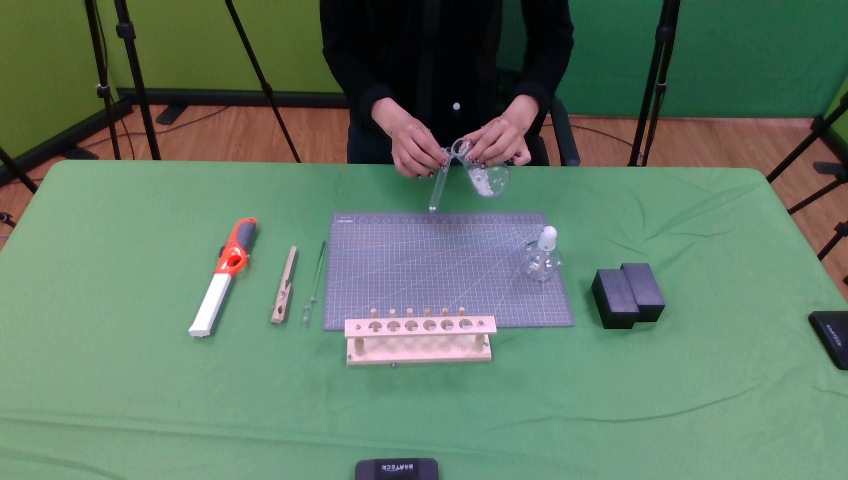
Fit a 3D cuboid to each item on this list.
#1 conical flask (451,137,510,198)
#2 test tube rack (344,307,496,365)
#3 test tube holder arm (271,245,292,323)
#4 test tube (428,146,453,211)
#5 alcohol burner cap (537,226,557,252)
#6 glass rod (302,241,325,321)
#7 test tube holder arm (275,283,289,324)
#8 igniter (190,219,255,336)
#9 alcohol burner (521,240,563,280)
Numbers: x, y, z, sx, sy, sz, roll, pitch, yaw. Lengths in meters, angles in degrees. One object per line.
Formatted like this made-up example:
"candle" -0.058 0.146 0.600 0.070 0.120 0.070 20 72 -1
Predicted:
"conical flask" 0.094 -0.134 1.072 0.075 0.122 0.075 -19 54 28
"test tube rack" -0.009 0.154 1.007 0.242 0.085 0.066 -1 46 -5
"test tube holder arm" -0.259 0.076 1.106 0.013 0.015 0.177 29 38 -28
"test tube" 0.028 -0.108 1.100 0.017 0.151 0.017 8 46 -8
"alcohol burner cap" 0.226 -0.004 1.104 0.034 0.048 0.033 0 50 1
"glass rod" -0.204 0.071 1.124 0.008 0.008 0.198 4 43 0
"test tube holder arm" -0.254 0.111 1.077 0.010 0.015 0.087 30 38 -27
"igniter" -0.365 0.058 1.110 0.057 0.025 0.275 -1 45 8
"alcohol burner" 0.224 0.020 1.131 0.078 0.119 0.077 4 46 -4
